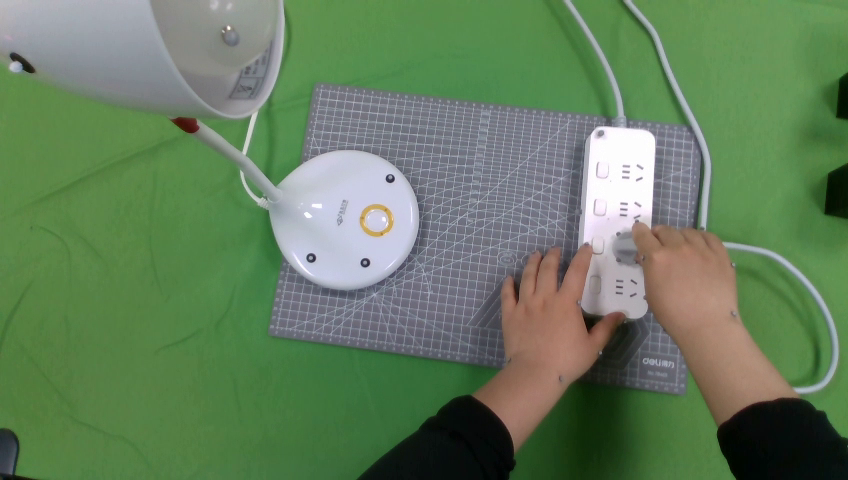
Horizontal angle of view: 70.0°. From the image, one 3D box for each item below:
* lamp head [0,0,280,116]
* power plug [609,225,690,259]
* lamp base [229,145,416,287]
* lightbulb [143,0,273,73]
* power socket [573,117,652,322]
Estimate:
[{"bbox_3d":[-0.141,-0.109,0.275,0.122,0.113,0.112,0,79,18],"label":"lamp head"},{"bbox_3d":[0.229,0.007,0.631,0.072,0.053,0.035,19,81,1],"label":"power plug"},{"bbox_3d":[-0.105,-0.044,0.595,0.179,0.181,0.160,2,79,6],"label":"lamp base"},{"bbox_3d":[-0.119,-0.105,0.263,0.107,0.060,0.059,9,80,12],"label":"lightbulb"},{"bbox_3d":[0.204,-0.025,0.656,0.072,0.033,0.226,6,80,2],"label":"power socket"}]
